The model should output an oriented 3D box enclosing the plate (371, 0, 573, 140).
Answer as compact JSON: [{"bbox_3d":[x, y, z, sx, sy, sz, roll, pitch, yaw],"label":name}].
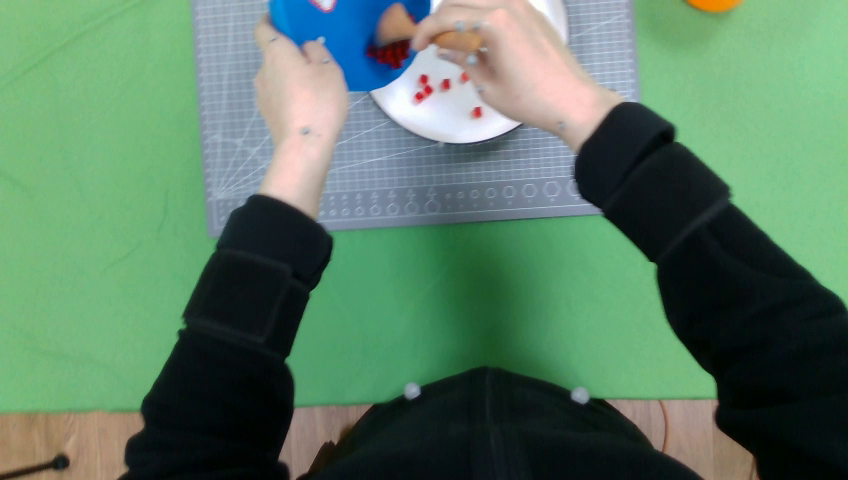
[{"bbox_3d":[0.039,-0.201,0.596,0.209,0.038,0.209,0,91,4],"label":"plate"}]

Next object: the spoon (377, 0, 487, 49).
[{"bbox_3d":[0.002,-0.160,0.455,0.022,0.191,0.041,24,100,-34],"label":"spoon"}]

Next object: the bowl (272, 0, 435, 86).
[{"bbox_3d":[-0.070,-0.209,0.500,0.076,0.153,0.151,26,92,42],"label":"bowl"}]
